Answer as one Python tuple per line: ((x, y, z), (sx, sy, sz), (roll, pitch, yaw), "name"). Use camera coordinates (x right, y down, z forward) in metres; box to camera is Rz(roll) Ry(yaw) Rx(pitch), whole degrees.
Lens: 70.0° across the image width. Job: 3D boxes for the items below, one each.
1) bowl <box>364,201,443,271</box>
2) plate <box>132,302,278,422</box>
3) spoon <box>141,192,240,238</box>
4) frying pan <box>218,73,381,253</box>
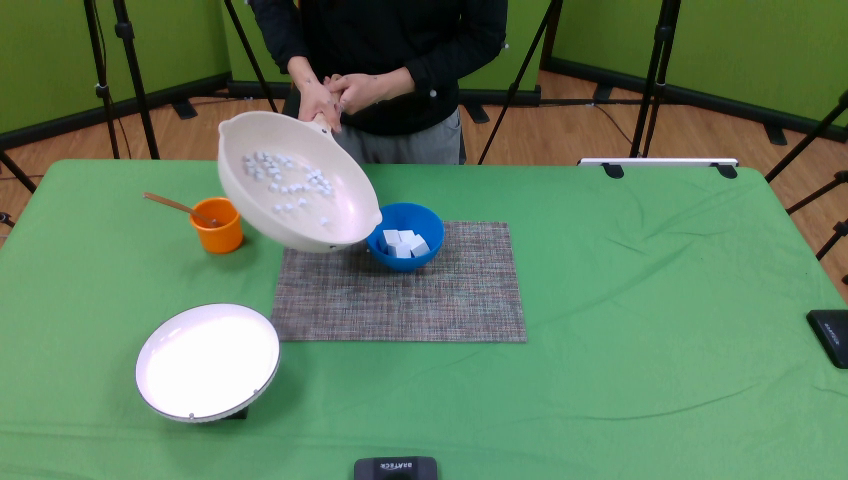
((-0.040, 0.006, 1.145), (0.151, 0.077, 0.150), (2, 46, -2), "bowl")
((-0.325, 0.186, 0.916), (0.208, 0.039, 0.206), (3, 44, -2), "plate")
((-0.428, -0.048, 1.123), (0.021, 0.195, 0.041), (-39, 44, 20), "spoon")
((-0.203, -0.166, 1.097), (0.308, 0.103, 0.485), (32, 42, -22), "frying pan")
